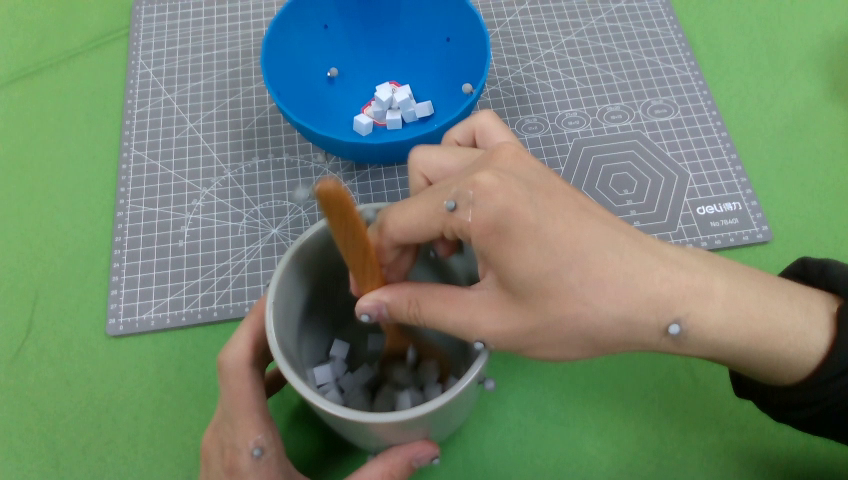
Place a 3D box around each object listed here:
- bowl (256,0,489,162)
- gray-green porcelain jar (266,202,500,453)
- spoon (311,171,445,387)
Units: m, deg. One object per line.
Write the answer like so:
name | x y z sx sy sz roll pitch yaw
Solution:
bowl | -0.033 -0.108 0.426 0.151 0.077 0.150 0 64 1
gray-green porcelain jar | -0.017 0.055 0.325 0.106 0.127 0.105 0 64 1
spoon | -0.019 0.032 0.290 0.041 0.195 0.021 -5 59 6
